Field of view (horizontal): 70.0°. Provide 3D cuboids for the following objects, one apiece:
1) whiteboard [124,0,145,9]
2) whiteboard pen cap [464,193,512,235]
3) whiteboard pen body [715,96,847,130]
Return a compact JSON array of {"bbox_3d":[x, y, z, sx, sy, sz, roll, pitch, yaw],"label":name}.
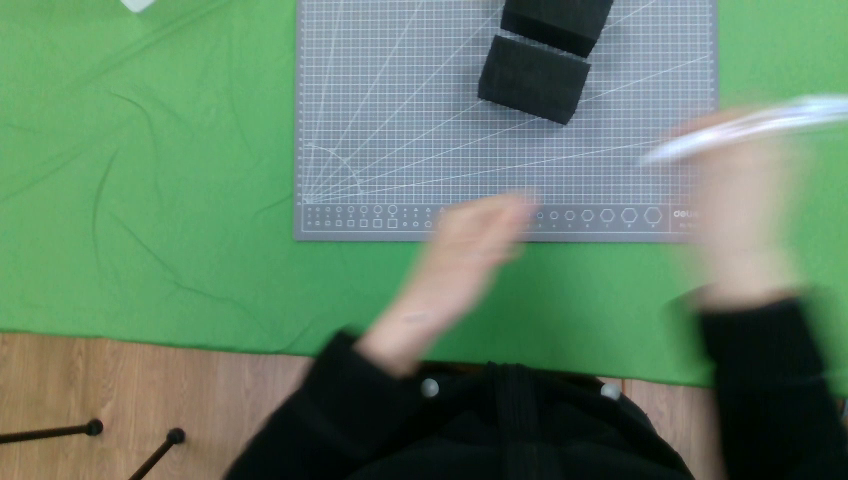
[{"bbox_3d":[-0.309,-0.419,0.556,0.217,0.308,0.142,-35,67,1],"label":"whiteboard"},{"bbox_3d":[0.046,-0.018,0.431,0.033,0.018,0.018,-34,86,13],"label":"whiteboard pen cap"},{"bbox_3d":[0.255,-0.081,0.381,0.141,0.017,0.017,-5,87,3],"label":"whiteboard pen body"}]
